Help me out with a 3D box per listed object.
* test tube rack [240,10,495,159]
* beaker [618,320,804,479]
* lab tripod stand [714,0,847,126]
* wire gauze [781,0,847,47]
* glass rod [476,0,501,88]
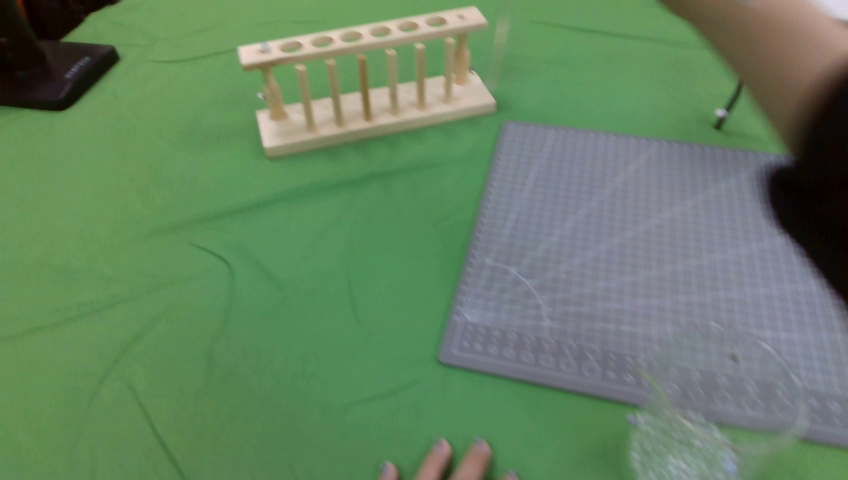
[{"bbox_3d":[-0.051,-0.159,0.614,0.243,0.086,0.066,-14,48,-11],"label":"test tube rack"},{"bbox_3d":[0.154,0.105,0.349,0.083,0.101,0.073,12,48,14],"label":"beaker"},{"bbox_3d":[0.367,-0.161,0.568,0.148,0.132,0.147,0,47,0],"label":"lab tripod stand"},{"bbox_3d":[0.360,-0.206,0.518,0.121,0.011,0.123,-9,47,-8],"label":"wire gauze"},{"bbox_3d":[0.044,-0.165,0.323,0.008,0.201,0.008,3,50,-3],"label":"glass rod"}]
